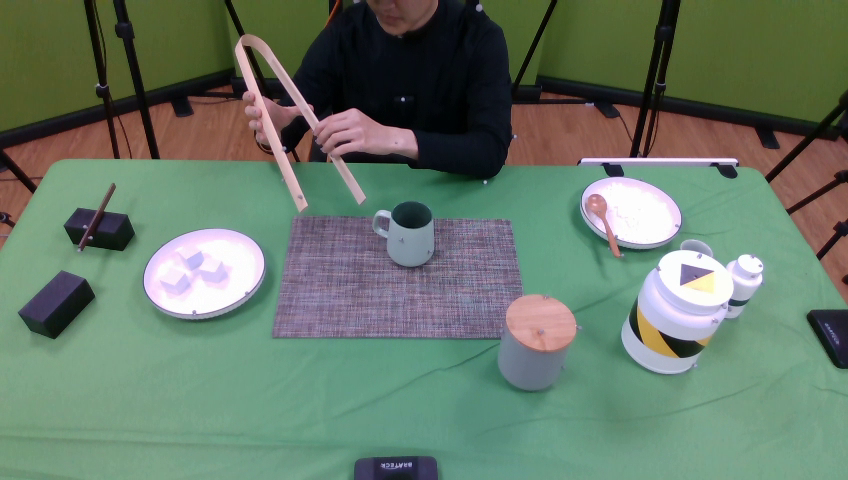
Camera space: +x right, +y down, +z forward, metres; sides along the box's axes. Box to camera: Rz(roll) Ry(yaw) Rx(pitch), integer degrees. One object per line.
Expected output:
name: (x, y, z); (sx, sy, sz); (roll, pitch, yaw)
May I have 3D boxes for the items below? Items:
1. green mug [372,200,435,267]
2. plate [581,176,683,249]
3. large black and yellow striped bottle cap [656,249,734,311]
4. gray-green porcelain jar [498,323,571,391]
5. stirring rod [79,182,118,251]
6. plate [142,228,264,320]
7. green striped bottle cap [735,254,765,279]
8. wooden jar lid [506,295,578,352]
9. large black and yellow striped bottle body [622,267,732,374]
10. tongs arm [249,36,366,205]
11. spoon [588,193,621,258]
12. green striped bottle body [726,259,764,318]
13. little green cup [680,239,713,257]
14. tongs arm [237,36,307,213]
green mug: (-0.040, -0.016, 1.146); (0.125, 0.105, 0.092); (17, 48, 13)
plate: (0.430, -0.054, 1.267); (0.209, 0.038, 0.208); (2, 46, -2)
large black and yellow striped bottle cap: (0.419, 0.061, 0.938); (0.115, 0.019, 0.114); (2, 47, -2)
gray-green porcelain jar: (0.176, 0.172, 0.971); (0.106, 0.127, 0.105); (2, 46, -2)
stirring rod: (-0.605, -0.047, 1.130); (0.006, 0.014, 0.175); (0, 47, 1)
plate: (-0.394, 0.064, 1.095); (0.208, 0.039, 0.206); (2, 46, -2)
green striped bottle cap: (0.566, 0.046, 1.051); (0.044, 0.020, 0.044); (0, 45, 0)
wooden jar lid: (0.179, 0.129, 0.925); (0.108, 0.021, 0.107); (2, 43, -2)
large black and yellow striped bottle body: (0.415, 0.119, 0.997); (0.131, 0.185, 0.130); (2, 46, -2)
tongs arm: (-0.221, -0.229, 1.153); (0.028, 0.028, 0.386); (-26, 79, -44)
spoon: (0.367, -0.032, 1.220); (0.041, 0.022, 0.192); (1, 38, -1)
green striped bottle body: (0.563, 0.081, 1.089); (0.063, 0.120, 0.063); (2, 46, -2)
little green cup: (0.530, 0.033, 1.189); (0.061, 0.039, 0.061); (2, 48, -2)
tongs arm: (-0.270, -0.218, 1.098); (0.051, 0.026, 0.383); (-9, 66, -44)
